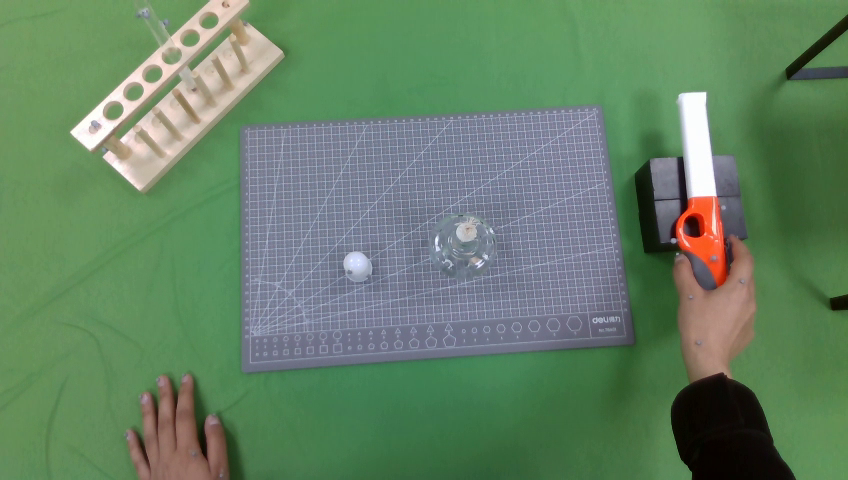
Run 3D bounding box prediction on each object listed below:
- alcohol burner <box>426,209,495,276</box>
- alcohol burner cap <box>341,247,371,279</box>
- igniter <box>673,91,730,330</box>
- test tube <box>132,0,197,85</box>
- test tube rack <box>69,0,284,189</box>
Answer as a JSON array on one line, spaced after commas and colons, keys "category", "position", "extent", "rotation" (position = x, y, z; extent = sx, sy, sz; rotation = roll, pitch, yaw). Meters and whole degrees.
[{"category": "alcohol burner", "position": [0.042, -0.002, 0.664], "extent": [0.078, 0.119, 0.077], "rotation": [1, 76, -2]}, {"category": "alcohol burner cap", "position": [-0.079, 0.025, 0.691], "extent": [0.034, 0.048, 0.033], "rotation": [0, 76, 1]}, {"category": "igniter", "position": [0.307, -0.037, 0.678], "extent": [0.057, 0.025, 0.275], "rotation": [0, 77, 7]}, {"category": "test tube", "position": [-0.281, -0.216, 0.668], "extent": [0.017, 0.151, 0.017], "rotation": [0, 72, -1]}, {"category": "test tube rack", "position": [-0.280, -0.179, 0.710], "extent": [0.066, 0.085, 0.242], "rotation": [41, 79, 7]}]
